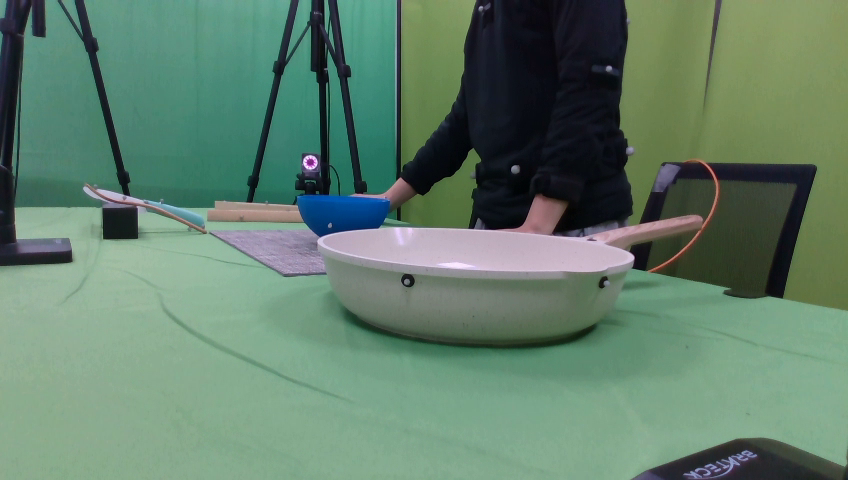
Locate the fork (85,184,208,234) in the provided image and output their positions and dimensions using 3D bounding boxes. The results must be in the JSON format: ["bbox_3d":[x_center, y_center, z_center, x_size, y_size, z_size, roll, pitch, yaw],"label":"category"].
[{"bbox_3d":[-0.462,-0.051,1.019,0.208,0.018,0.028,22,-11,-37],"label":"fork"}]

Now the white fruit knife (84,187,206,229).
[{"bbox_3d":[-0.488,-0.059,1.071,0.208,0.027,0.016,17,4,-33],"label":"white fruit knife"}]

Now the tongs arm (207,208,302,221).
[{"bbox_3d":[-0.277,-0.056,1.349,0.389,0.028,0.028,0,5,-22],"label":"tongs arm"}]

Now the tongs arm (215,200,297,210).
[{"bbox_3d":[-0.295,-0.069,1.426,0.386,0.026,0.050,2,7,-10],"label":"tongs arm"}]

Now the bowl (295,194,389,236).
[{"bbox_3d":[-0.133,-0.032,0.980,0.151,0.077,0.151,2,7,0],"label":"bowl"}]

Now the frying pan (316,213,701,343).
[{"bbox_3d":[0.133,0.013,0.629,0.490,0.102,0.305,-12,14,-30],"label":"frying pan"}]
